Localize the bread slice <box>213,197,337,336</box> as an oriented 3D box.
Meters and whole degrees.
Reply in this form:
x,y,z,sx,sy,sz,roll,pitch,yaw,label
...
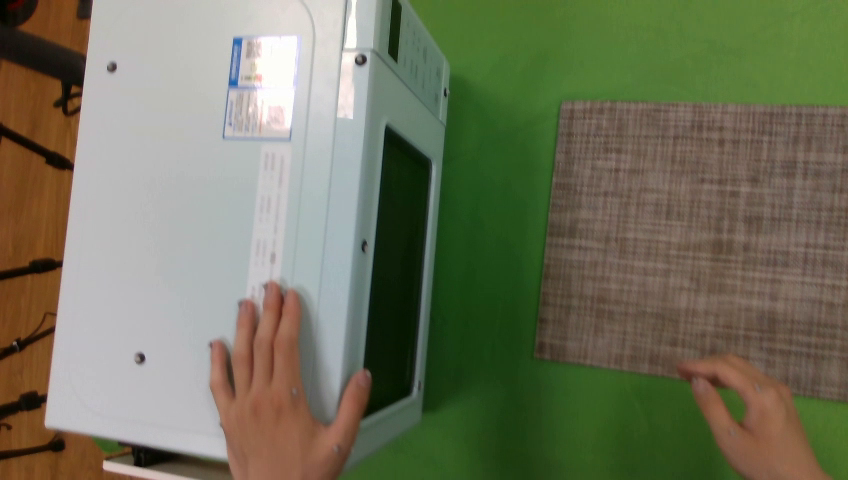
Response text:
x,y,z,sx,sy,sz,roll,pitch,yaw,label
-0.168,0.022,0.644,0.105,0.019,0.131,-40,79,12,bread slice

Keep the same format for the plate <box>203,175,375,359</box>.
x,y,z,sx,sy,sz,roll,pitch,yaw,label
-0.152,0.031,0.696,0.207,0.039,0.207,-1,86,14,plate

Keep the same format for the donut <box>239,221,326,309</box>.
x,y,z,sx,sy,sz,roll,pitch,yaw,label
-0.156,0.028,0.669,0.099,0.048,0.099,-1,85,11,donut

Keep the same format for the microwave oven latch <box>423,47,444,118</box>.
x,y,z,sx,sy,sz,roll,pitch,yaw,label
0.007,-0.186,0.714,0.030,0.029,0.079,4,88,16,microwave oven latch

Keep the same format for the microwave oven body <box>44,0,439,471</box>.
x,y,z,sx,sy,sz,roll,pitch,yaw,label
-0.176,-0.026,0.654,0.325,0.261,0.441,3,88,16,microwave oven body

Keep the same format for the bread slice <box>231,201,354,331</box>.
x,y,z,sx,sy,sz,roll,pitch,yaw,label
-0.158,0.023,0.690,0.107,0.018,0.133,-44,74,1,bread slice

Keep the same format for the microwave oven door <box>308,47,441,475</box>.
x,y,z,sx,sy,sz,roll,pitch,yaw,label
-0.040,0.023,0.607,0.039,0.245,0.355,3,87,17,microwave oven door
